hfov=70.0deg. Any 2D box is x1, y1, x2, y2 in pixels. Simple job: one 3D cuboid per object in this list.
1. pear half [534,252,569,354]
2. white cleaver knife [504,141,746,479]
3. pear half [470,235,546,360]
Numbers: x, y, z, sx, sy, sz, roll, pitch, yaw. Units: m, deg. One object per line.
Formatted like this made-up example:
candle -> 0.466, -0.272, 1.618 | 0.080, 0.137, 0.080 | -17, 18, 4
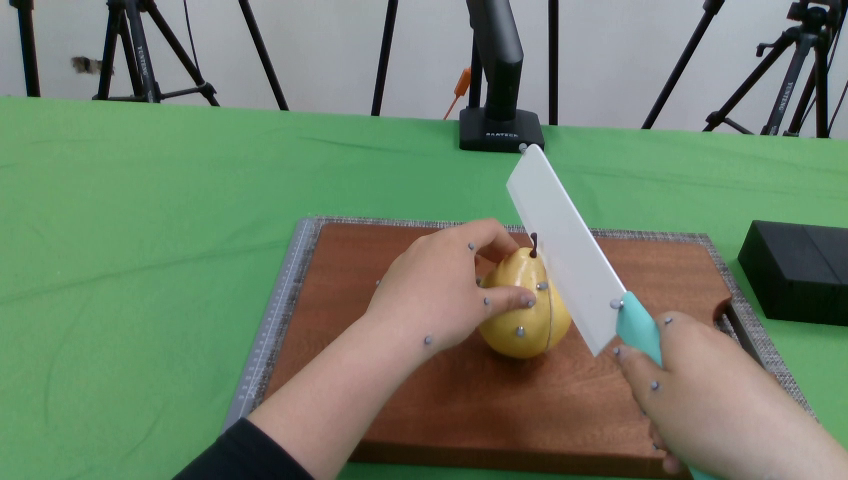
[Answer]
pear half -> 0.101, 0.048, 0.485 | 0.031, 0.088, 0.069 | -5, 30, -13
white cleaver knife -> 0.117, 0.043, 0.404 | 0.021, 0.066, 0.283 | -6, 51, -19
pear half -> 0.065, 0.042, 0.474 | 0.056, 0.111, 0.075 | -6, 33, -11
